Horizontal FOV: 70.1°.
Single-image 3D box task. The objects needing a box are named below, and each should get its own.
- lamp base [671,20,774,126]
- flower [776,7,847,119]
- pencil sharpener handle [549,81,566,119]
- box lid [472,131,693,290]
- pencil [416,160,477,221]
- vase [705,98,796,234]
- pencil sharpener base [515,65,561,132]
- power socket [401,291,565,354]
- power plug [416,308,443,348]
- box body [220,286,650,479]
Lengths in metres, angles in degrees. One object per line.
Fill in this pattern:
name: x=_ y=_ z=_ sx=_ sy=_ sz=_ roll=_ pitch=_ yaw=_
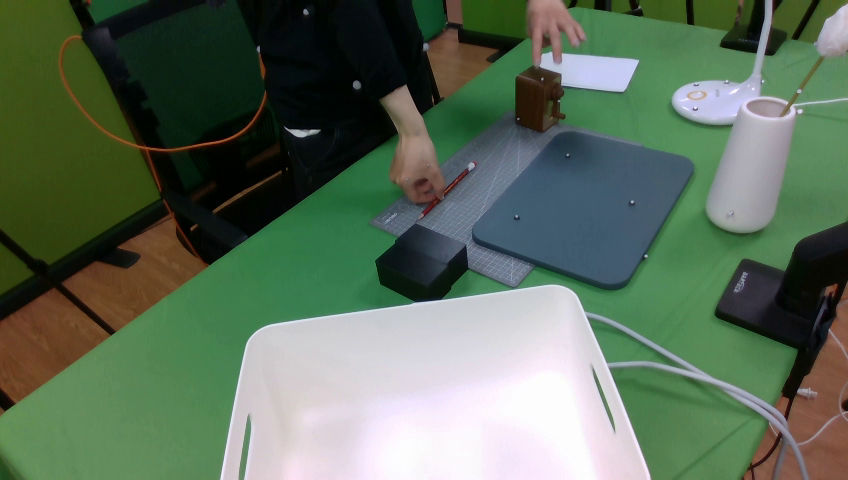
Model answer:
lamp base: x=0.581 y=-0.332 z=1.154 sx=0.179 sy=0.181 sz=0.160 roll=2 pitch=42 yaw=7
flower: x=0.477 y=-0.156 z=0.822 sx=0.038 sy=0.362 sz=0.044 roll=8 pitch=57 yaw=2
pencil sharpener handle: x=0.261 y=-0.266 z=1.157 sx=0.030 sy=0.068 sz=0.036 roll=29 pitch=45 yaw=35
box lid: x=0.273 y=-0.068 z=1.020 sx=0.261 sy=0.015 sz=0.372 roll=20 pitch=47 yaw=28
pencil: x=0.041 y=-0.090 z=1.076 sx=0.012 sy=0.012 sz=0.194 roll=21 pitch=49 yaw=29
vase: x=0.480 y=-0.104 z=0.889 sx=0.098 sy=0.201 sz=0.097 roll=-4 pitch=42 yaw=4
pencil sharpener base: x=0.227 y=-0.278 z=1.195 sx=0.076 sy=0.107 sz=0.061 roll=29 pitch=52 yaw=35
power socket: x=0.079 y=0.111 z=0.823 sx=0.227 sy=0.033 sz=0.072 roll=-5 pitch=41 yaw=1
power plug: x=0.005 y=0.121 z=0.787 sx=0.035 sy=0.053 sz=0.072 roll=2 pitch=46 yaw=8
box body: x=0.006 y=0.210 z=0.618 sx=0.364 sy=0.161 sz=0.252 roll=-8 pitch=40 yaw=-1
